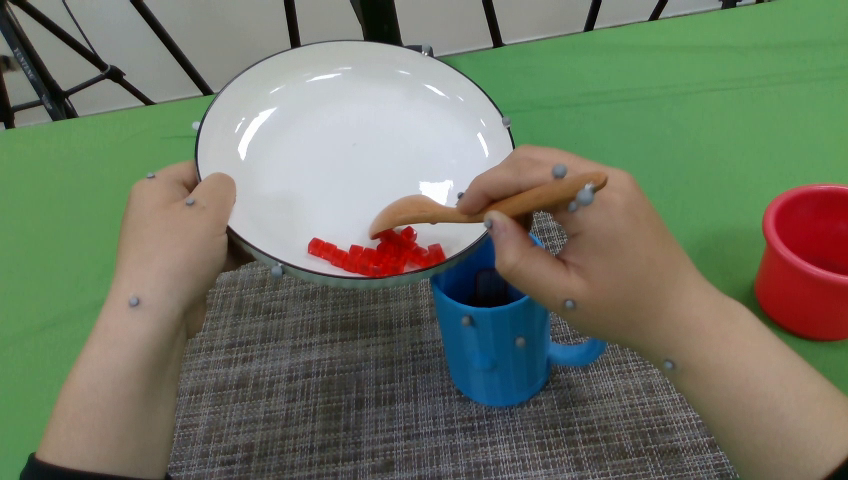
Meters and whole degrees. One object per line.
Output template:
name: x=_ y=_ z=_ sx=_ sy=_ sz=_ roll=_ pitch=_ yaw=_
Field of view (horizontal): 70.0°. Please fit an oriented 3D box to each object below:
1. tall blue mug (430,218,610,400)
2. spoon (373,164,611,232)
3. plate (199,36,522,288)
tall blue mug: x=0.063 y=0.046 z=0.415 sx=0.107 sy=0.109 sz=0.077 roll=-13 pitch=44 yaw=-1
spoon: x=0.023 y=-0.019 z=0.308 sx=0.041 sy=0.022 sz=0.192 roll=-33 pitch=16 yaw=-27
plate: x=-0.040 y=-0.055 z=0.409 sx=0.208 sy=0.039 sz=0.205 roll=4 pitch=57 yaw=-5
